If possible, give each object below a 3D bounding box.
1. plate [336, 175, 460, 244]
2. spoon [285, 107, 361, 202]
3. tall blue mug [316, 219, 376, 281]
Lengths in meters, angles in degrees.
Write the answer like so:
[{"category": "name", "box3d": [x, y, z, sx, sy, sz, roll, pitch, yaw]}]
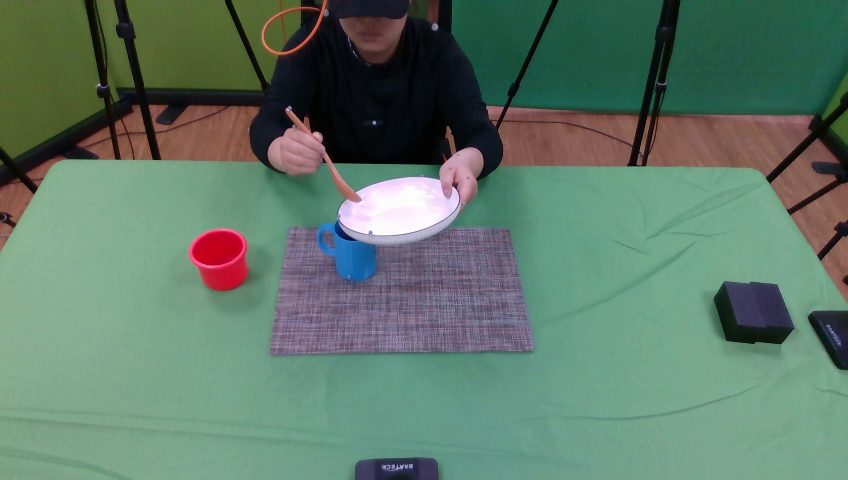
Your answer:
[{"category": "plate", "box3d": [-0.042, -0.047, 1.012, 0.207, 0.039, 0.206, -6, 31, 4]}, {"category": "spoon", "box3d": [-0.169, -0.140, 1.011, 0.021, 0.041, 0.194, -37, 99, -22]}, {"category": "tall blue mug", "box3d": [-0.142, 0.014, 1.108, 0.107, 0.108, 0.077, -5, 47, -8]}]
